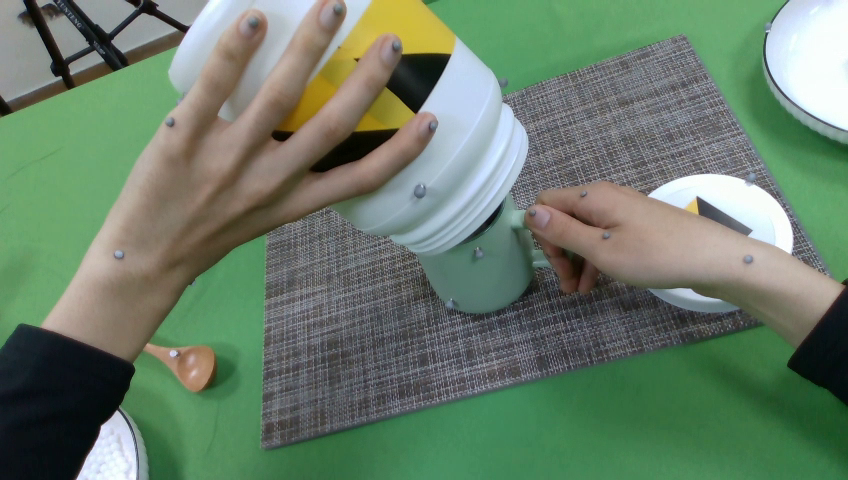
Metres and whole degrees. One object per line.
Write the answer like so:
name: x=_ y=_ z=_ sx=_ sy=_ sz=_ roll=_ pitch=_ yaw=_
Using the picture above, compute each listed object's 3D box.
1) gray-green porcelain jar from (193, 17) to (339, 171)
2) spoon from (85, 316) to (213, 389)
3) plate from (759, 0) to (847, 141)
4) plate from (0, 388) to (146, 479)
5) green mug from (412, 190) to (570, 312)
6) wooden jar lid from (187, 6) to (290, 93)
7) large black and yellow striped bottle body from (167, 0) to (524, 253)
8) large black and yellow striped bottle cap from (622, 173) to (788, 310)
gray-green porcelain jar: x=-0.154 y=-0.142 z=0.622 sx=0.105 sy=0.128 sz=0.105 roll=-11 pitch=52 yaw=14
spoon: x=-0.267 y=0.098 z=0.577 sx=0.192 sy=0.022 sz=0.041 roll=13 pitch=79 yaw=27
plate: x=0.384 y=-0.150 z=0.486 sx=0.207 sy=0.039 sz=0.205 roll=-10 pitch=56 yaw=15
plate: x=-0.318 y=0.229 z=0.504 sx=0.209 sy=0.038 sz=0.207 roll=-9 pitch=56 yaw=14
green mug: x=0.049 y=-0.002 z=0.469 sx=0.125 sy=0.106 sz=0.092 roll=2 pitch=59 yaw=21
wooden jar lid: x=-0.173 y=-0.179 z=0.574 sx=0.108 sy=0.021 sz=0.107 roll=-12 pitch=54 yaw=17
large black and yellow striped bottle body: x=-0.039 y=-0.086 z=0.366 sx=0.131 sy=0.185 sz=0.129 roll=-40 pitch=26 yaw=25
large black and yellow striped bottle cap: x=0.212 y=-0.002 z=0.463 sx=0.115 sy=0.019 sz=0.114 roll=-10 pitch=55 yaw=16
